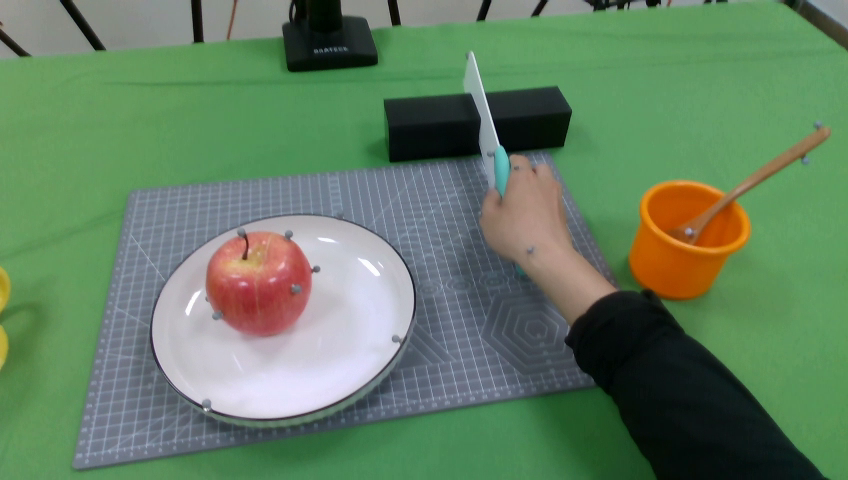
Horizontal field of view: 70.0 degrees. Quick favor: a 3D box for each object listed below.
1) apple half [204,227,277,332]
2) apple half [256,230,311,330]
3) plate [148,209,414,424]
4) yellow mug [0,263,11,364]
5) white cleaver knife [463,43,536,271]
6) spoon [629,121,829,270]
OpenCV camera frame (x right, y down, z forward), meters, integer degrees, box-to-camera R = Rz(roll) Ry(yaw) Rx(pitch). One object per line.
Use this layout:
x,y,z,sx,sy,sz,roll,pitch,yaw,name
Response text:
-0.146,0.033,0.485,0.053,0.075,0.080,0,50,4,apple half
-0.106,0.033,0.485,0.033,0.082,0.080,-1,47,4,apple half
-0.112,0.059,0.498,0.209,0.038,0.207,2,47,-1,plate
-0.378,0.065,0.465,0.099,0.064,0.130,19,48,15,yellow mug
0.072,-0.092,0.623,0.021,0.066,0.283,-8,58,-2,white cleaver knife
0.265,-0.037,0.532,0.022,0.194,0.041,29,29,-39,spoon
